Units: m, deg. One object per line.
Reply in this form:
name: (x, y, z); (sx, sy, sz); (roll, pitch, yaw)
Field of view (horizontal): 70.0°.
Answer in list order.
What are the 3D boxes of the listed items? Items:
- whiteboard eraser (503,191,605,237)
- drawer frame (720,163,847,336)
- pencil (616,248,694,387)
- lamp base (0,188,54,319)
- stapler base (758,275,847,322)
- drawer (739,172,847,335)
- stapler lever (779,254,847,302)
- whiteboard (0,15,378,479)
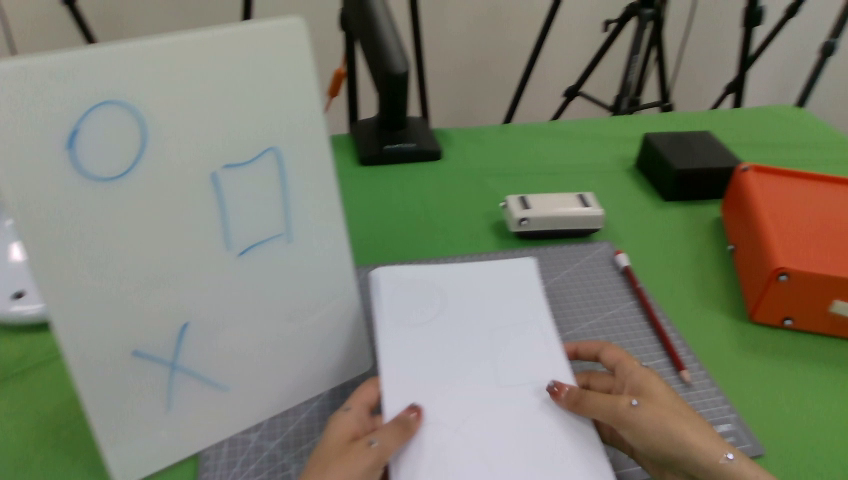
whiteboard eraser: (0.156, -0.031, 0.732); (0.113, 0.042, 0.055); (-2, 38, -7)
drawer frame: (0.453, 0.010, 0.665); (0.201, 0.083, 0.212); (8, 37, 8)
pencil: (0.234, 0.073, 0.622); (0.012, 0.012, 0.192); (-2, 40, -6)
lamp base: (-0.387, -0.041, 0.585); (0.178, 0.182, 0.160); (19, 39, 23)
stapler base: (0.418, 0.059, 0.629); (0.130, 0.024, 0.041); (14, 45, 1)
drawer: (0.454, 0.013, 0.664); (0.194, 0.074, 0.210); (9, 36, 9)
stapler lever: (0.422, 0.043, 0.615); (0.118, 0.040, 0.026); (11, 45, 4)
whiteboard: (-0.189, -0.006, 0.499); (0.218, 0.307, 0.142); (-20, 24, -27)
